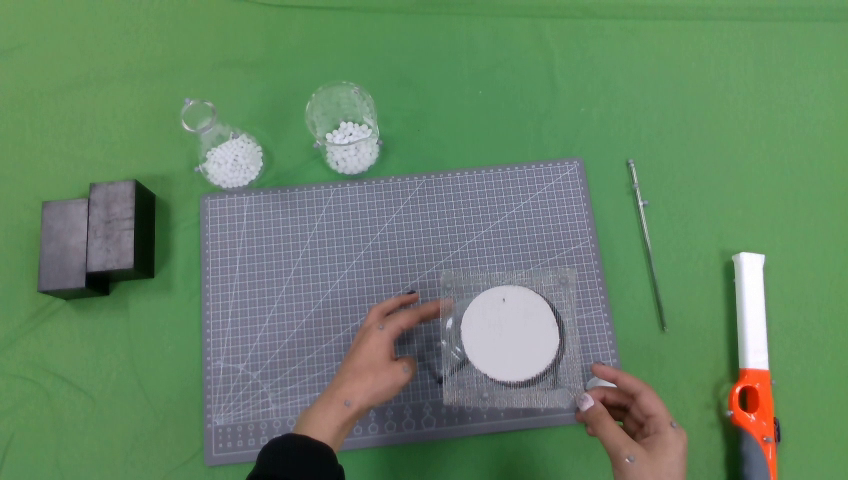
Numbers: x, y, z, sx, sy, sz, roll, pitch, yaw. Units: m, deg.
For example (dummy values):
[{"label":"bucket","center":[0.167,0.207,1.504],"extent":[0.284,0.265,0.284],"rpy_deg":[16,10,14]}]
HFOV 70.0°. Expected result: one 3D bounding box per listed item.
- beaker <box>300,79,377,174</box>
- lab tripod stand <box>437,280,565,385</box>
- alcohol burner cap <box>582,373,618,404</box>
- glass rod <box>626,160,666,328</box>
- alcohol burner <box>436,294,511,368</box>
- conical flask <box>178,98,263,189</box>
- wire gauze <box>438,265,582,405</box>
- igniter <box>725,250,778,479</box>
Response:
[{"label":"beaker","center":[-0.088,-0.120,0.675],"extent":[0.084,0.100,0.074],"rpy_deg":[29,78,6]},{"label":"lab tripod stand","center":[0.078,0.102,0.600],"extent":[0.148,0.132,0.147],"rpy_deg":[0,77,0]},{"label":"alcohol burner cap","center":[0.187,0.155,0.634],"extent":[0.034,0.048,0.033],"rpy_deg":[0,75,0]},{"label":"glass rod","center":[0.253,0.001,0.693],"extent":[0.008,0.008,0.198],"rpy_deg":[-6,76,-2]},{"label":"alcohol burner","center":[0.051,0.091,0.613],"extent":[0.078,0.119,0.077],"rpy_deg":[0,77,2]},{"label":"conical flask","center":[-0.226,-0.109,0.659],"extent":[0.075,0.122,0.075],"rpy_deg":[0,75,0]},{"label":"wire gauze","center":[0.075,0.083,0.535],"extent":[0.125,0.011,0.121],"rpy_deg":[0,78,2]},{"label":"igniter","center":[0.348,0.146,0.649],"extent":[0.057,0.025,0.275],"rpy_deg":[8,75,-9]}]
